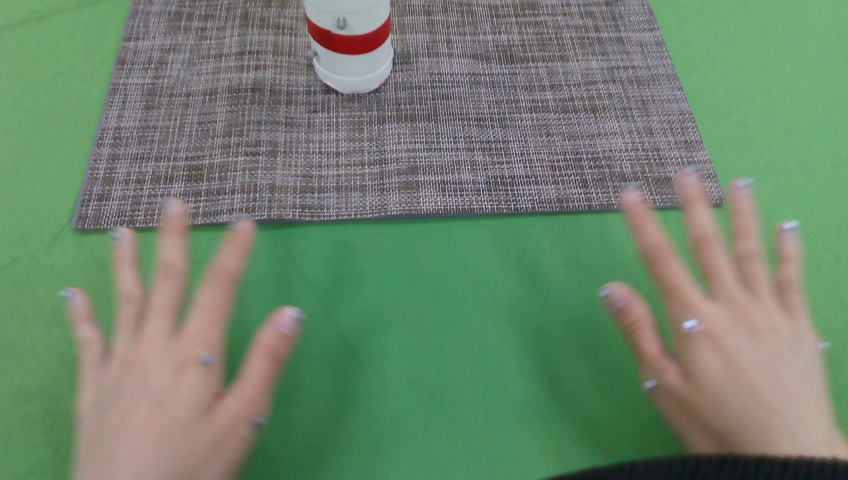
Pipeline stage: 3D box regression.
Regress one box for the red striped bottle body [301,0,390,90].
[{"bbox_3d":[-0.057,-0.171,0.434,0.063,0.120,0.062,1,60,-1],"label":"red striped bottle body"}]
